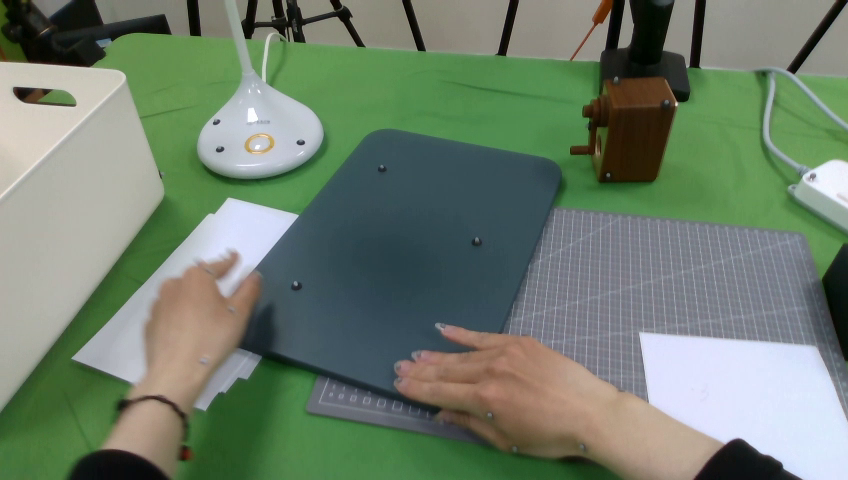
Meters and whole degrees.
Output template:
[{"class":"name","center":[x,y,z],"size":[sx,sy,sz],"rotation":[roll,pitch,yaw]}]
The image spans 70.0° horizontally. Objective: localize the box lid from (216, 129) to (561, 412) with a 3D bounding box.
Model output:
[{"class":"box lid","center":[-0.019,0.001,0.650],"size":[0.262,0.015,0.369],"rotation":[14,46,18]}]

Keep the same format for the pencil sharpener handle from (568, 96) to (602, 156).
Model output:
[{"class":"pencil sharpener handle","center":[0.181,-0.128,0.686],"size":[0.030,0.068,0.036],"rotation":[-1,23,3]}]

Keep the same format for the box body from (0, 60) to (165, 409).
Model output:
[{"class":"box body","center":[-0.453,-0.009,0.573],"size":[0.254,0.162,0.361],"rotation":[7,45,9]}]

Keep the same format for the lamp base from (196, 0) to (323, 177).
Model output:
[{"class":"lamp base","center":[-0.220,-0.197,0.741],"size":[0.161,0.182,0.177],"rotation":[-15,43,-12]}]

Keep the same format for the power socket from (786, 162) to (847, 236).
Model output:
[{"class":"power socket","center":[0.490,-0.010,0.621],"size":[0.072,0.033,0.224],"rotation":[-23,47,-20]}]

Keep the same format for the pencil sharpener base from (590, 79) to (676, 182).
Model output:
[{"class":"pencil sharpener base","center":[0.233,-0.124,0.697],"size":[0.076,0.108,0.061],"rotation":[-1,45,3]}]
